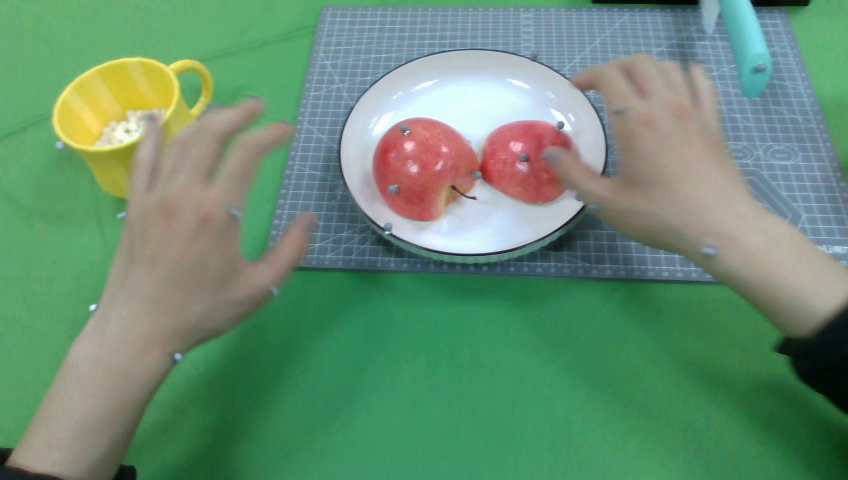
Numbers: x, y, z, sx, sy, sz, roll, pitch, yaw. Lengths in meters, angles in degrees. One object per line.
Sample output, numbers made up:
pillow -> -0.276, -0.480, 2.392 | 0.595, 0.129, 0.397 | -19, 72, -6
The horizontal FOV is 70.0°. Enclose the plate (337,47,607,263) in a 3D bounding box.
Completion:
plate -> 0.036, -0.069, 0.482 | 0.209, 0.038, 0.207 | -1, 59, 3

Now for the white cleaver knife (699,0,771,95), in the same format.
white cleaver knife -> 0.266, -0.230, 0.547 | 0.021, 0.066, 0.284 | 0, 55, 9

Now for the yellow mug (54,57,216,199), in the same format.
yellow mug -> -0.228, -0.103, 0.506 | 0.099, 0.064, 0.130 | 34, 66, 21

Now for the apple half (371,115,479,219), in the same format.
apple half -> -0.001, -0.064, 0.463 | 0.081, 0.054, 0.074 | -37, 61, -17

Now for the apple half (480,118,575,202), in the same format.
apple half -> 0.081, -0.071, 0.473 | 0.081, 0.033, 0.080 | -1, 62, 3
